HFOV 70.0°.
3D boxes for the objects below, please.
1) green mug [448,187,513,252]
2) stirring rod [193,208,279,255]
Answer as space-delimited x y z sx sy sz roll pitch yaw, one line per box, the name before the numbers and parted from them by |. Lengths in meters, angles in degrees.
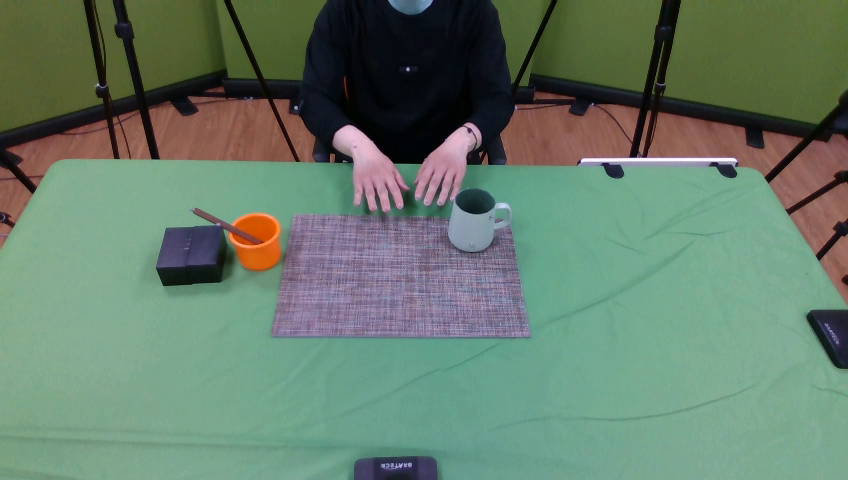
green mug | 0.112 -0.041 1.180 0.125 0.105 0.092 -8 47 -11
stirring rod | -0.340 -0.013 1.107 0.177 0.006 0.014 32 29 -34
